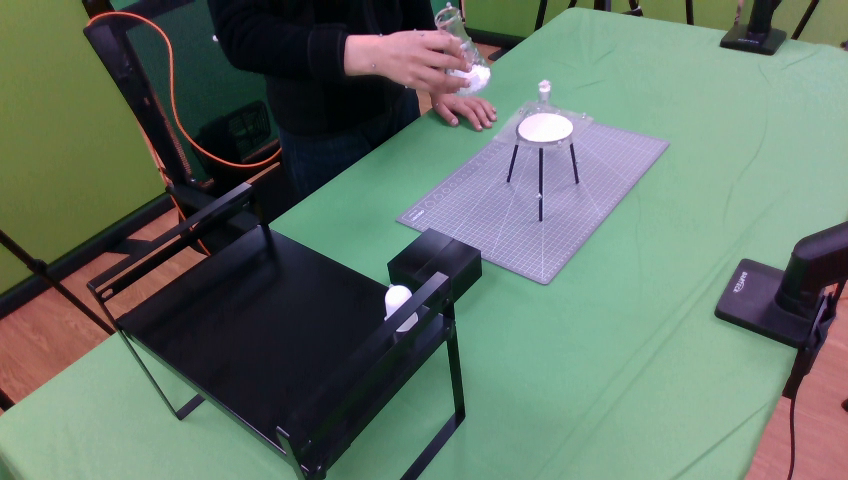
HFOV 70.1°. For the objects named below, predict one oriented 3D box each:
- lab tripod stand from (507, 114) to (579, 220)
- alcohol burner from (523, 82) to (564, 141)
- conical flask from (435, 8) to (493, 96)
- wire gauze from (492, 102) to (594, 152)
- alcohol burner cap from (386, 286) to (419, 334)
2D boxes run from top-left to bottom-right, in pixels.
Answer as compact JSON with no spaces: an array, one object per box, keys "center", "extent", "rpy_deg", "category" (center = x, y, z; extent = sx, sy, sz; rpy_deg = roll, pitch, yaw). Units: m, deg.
[{"center":[0.199,-0.128,1.005],"extent":[0.148,0.132,0.147],"rpy_deg":[-3,42,3],"category":"lab tripod stand"},{"center":[0.230,-0.251,1.161],"extent":[0.078,0.119,0.077],"rpy_deg":[-4,43,4],"category":"alcohol burner"},{"center":[0.052,-0.280,0.898],"extent":[0.075,0.123,0.075],"rpy_deg":[-12,50,15],"category":"conical flask"},{"center":[0.191,-0.180,0.964],"extent":[0.120,0.011,0.125],"rpy_deg":[19,48,28],"category":"wire gauze"},{"center":[-0.024,0.067,0.604],"extent":[0.034,0.048,0.033],"rpy_deg":[-4,40,4],"category":"alcohol burner cap"}]
